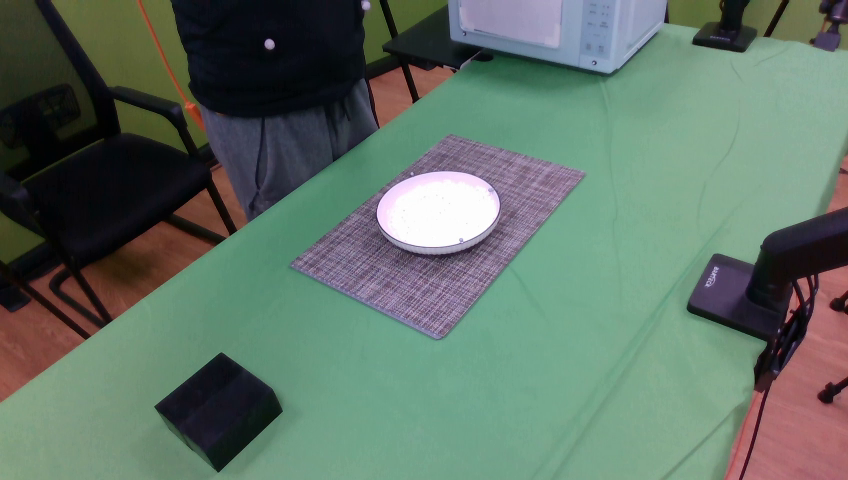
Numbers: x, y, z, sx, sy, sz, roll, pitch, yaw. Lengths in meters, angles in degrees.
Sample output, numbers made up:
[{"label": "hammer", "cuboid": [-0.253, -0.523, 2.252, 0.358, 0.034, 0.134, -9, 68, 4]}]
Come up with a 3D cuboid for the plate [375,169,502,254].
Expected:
[{"label": "plate", "cuboid": [0.024, -0.044, 0.998, 0.209, 0.038, 0.208, -4, 41, 4]}]

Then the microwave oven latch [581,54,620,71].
[{"label": "microwave oven latch", "cuboid": [0.386, -0.393, 1.329, 0.078, 0.029, 0.030, 24, 50, 32]}]

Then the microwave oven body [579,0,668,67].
[{"label": "microwave oven body", "cuboid": [0.325, -0.609, 1.437, 0.438, 0.261, 0.327, 23, 50, 30]}]

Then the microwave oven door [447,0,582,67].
[{"label": "microwave oven door", "cuboid": [0.203, -0.544, 1.372, 0.353, 0.245, 0.039, 23, 49, 30]}]
